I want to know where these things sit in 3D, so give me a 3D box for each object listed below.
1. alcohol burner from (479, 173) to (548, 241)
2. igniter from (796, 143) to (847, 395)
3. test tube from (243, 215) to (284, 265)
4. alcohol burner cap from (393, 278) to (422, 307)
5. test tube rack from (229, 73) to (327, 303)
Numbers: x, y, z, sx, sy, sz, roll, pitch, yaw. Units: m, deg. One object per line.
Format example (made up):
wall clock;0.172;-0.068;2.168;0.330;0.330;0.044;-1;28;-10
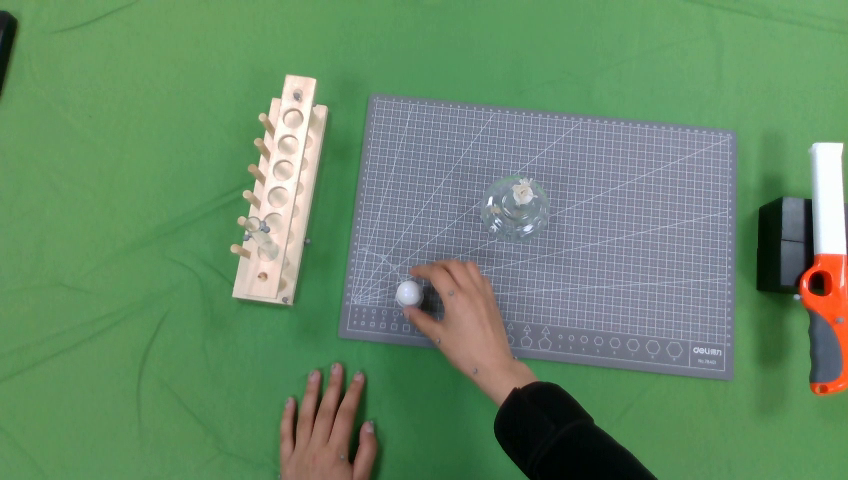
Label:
alcohol burner;0.100;-0.039;0.661;0.078;0.119;0.077;0;80;0
igniter;0.434;0.028;0.654;0.057;0.025;0.275;4;79;12
test tube;-0.160;0.004;0.615;0.017;0.151;0.017;1;75;-4
alcohol burner cap;-0.019;0.058;0.677;0.034;0.048;0.034;0;82;-1
test tube rack;-0.168;-0.057;0.676;0.067;0.085;0.241;8;80;1
